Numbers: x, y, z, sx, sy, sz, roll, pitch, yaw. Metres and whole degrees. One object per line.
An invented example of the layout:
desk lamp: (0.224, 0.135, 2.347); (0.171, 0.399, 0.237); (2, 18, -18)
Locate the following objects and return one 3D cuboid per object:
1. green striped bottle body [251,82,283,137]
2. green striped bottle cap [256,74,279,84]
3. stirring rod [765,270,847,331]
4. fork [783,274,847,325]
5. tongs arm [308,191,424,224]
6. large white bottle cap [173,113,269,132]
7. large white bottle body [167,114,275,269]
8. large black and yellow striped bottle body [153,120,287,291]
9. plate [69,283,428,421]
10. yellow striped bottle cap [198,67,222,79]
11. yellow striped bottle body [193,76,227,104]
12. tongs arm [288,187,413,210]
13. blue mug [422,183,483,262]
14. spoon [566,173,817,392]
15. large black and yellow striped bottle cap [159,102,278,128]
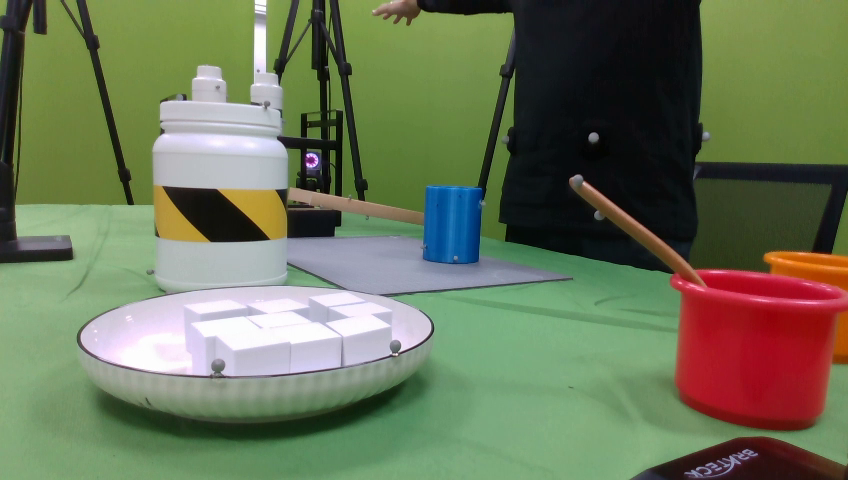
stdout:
green striped bottle body: (-0.317, -0.270, 1.220); (0.063, 0.119, 0.063); (2, 7, 0)
green striped bottle cap: (-0.314, -0.322, 1.214); (0.044, 0.020, 0.044); (2, 8, 0)
stirring rod: (0.352, 0.020, 0.484); (0.176, 0.006, 0.014); (-40, -7, 13)
fork: (0.332, 0.018, 0.444); (0.028, 0.018, 0.207); (-1, -36, -15)
tongs arm: (-0.047, -0.051, 1.169); (0.387, 0.026, 0.050); (9, 2, -32)
large white bottle cap: (-0.254, -0.146, 0.760); (0.115, 0.018, 0.115); (1, 7, 0)
large white bottle body: (-0.256, -0.063, 0.771); (0.131, 0.184, 0.130); (2, 7, 0)
large black and yellow striped bottle body: (-0.208, -0.042, 0.626); (0.131, 0.184, 0.130); (2, 7, 0)
plate: (-0.102, 0.066, 0.381); (0.208, 0.039, 0.207); (2, 7, 0)
yellow striped bottle cap: (-0.411, -0.320, 1.163); (0.044, 0.018, 0.044); (1, 6, 0)
yellow striped bottle body: (-0.414, -0.268, 1.169); (0.063, 0.120, 0.063); (2, 7, 0)
tongs arm: (-0.083, -0.062, 1.243); (0.389, 0.027, 0.028); (10, -2, -18)
blue mug: (0.032, -0.028, 0.878); (0.083, 0.106, 0.116); (-2, 8, -31)
spoon: (0.161, 0.024, 0.370); (0.193, 0.021, 0.042); (47, 18, 3)
large black and yellow striped bottle cap: (-0.207, -0.125, 0.615); (0.115, 0.019, 0.115); (2, 6, 0)
